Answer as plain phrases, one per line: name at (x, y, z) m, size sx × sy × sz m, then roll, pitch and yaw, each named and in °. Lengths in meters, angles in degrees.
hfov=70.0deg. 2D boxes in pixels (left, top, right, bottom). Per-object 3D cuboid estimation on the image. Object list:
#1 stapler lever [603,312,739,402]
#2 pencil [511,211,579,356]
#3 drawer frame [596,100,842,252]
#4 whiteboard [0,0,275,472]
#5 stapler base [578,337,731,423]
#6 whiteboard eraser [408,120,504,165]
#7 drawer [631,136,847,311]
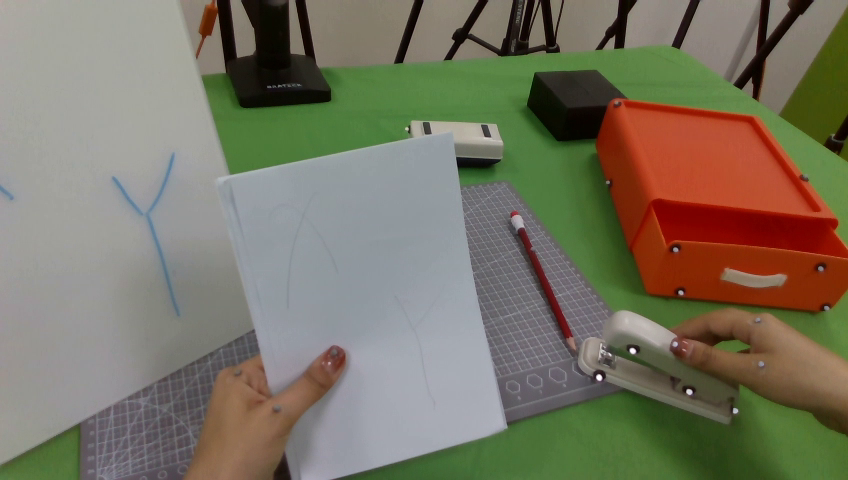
stapler lever at (0.204, 0.094, 0.495) m, size 0.118 × 0.040 × 0.026 m, roll 20°, pitch 46°, yaw 6°
pencil at (0.117, 0.036, 0.595) m, size 0.012 × 0.012 × 0.192 m, roll -3°, pitch 44°, yaw -13°
drawer frame at (0.322, -0.069, 0.702) m, size 0.202 × 0.083 × 0.211 m, roll 5°, pitch 40°, yaw -3°
whiteboard at (-0.269, -0.041, 0.434) m, size 0.217 × 0.308 × 0.142 m, roll -28°, pitch 33°, yaw -34°
stapler base at (0.199, 0.112, 0.513) m, size 0.130 × 0.024 × 0.041 m, roll 19°, pitch 46°, yaw 7°
whiteboard eraser at (0.039, -0.118, 0.739) m, size 0.113 × 0.042 × 0.055 m, roll 1°, pitch 42°, yaw -9°
drawer at (0.320, -0.027, 0.656) m, size 0.195 × 0.074 × 0.209 m, roll 6°, pitch 40°, yaw -3°
